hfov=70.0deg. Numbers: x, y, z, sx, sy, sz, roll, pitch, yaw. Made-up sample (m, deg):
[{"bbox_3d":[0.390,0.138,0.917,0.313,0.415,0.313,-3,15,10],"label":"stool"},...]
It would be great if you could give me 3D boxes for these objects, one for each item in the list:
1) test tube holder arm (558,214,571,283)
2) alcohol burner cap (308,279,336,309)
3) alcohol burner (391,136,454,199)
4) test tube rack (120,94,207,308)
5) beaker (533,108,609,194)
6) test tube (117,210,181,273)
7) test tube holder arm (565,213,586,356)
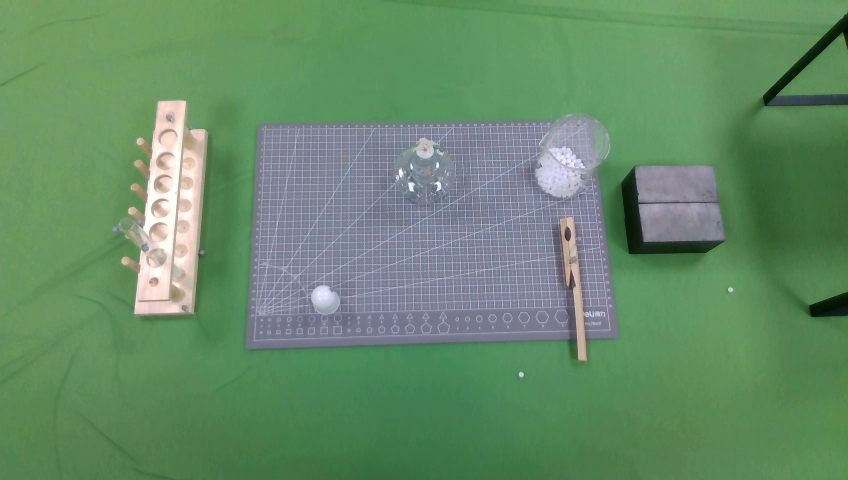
[{"bbox_3d":[0.178,0.010,0.761,0.010,0.015,0.087,-10,74,27],"label":"test tube holder arm"},{"bbox_3d":[-0.123,0.062,0.719,0.034,0.048,0.033,1,72,-3],"label":"alcohol burner cap"},{"bbox_3d":[-0.002,-0.096,0.735,0.078,0.119,0.077,0,74,0],"label":"alcohol burner"},{"bbox_3d":[-0.314,-0.046,0.724,0.067,0.085,0.241,-1,73,-2],"label":"test tube rack"},{"bbox_3d":[0.175,-0.105,0.752,0.084,0.101,0.073,-3,73,-2],"label":"beaker"},{"bbox_3d":[-0.295,0.006,0.659,0.017,0.151,0.017,1,68,-2],"label":"test tube"},{"bbox_3d":[0.186,0.053,0.747,0.013,0.015,0.177,-11,73,26],"label":"test tube holder arm"}]
